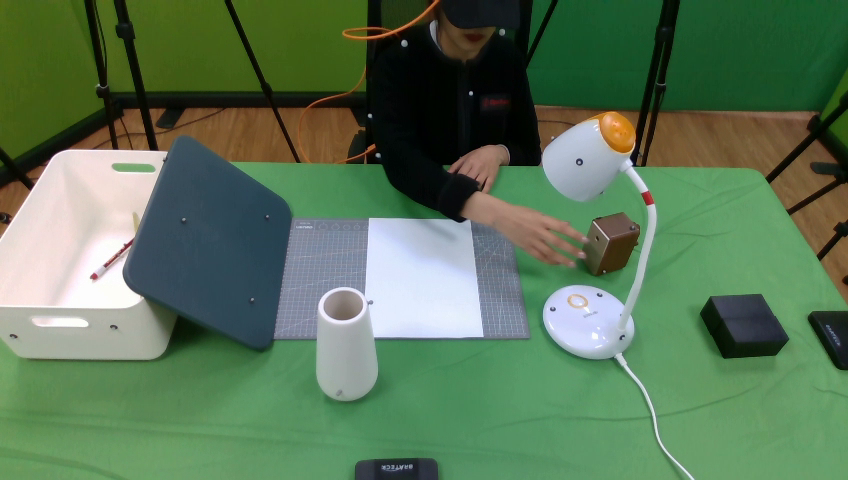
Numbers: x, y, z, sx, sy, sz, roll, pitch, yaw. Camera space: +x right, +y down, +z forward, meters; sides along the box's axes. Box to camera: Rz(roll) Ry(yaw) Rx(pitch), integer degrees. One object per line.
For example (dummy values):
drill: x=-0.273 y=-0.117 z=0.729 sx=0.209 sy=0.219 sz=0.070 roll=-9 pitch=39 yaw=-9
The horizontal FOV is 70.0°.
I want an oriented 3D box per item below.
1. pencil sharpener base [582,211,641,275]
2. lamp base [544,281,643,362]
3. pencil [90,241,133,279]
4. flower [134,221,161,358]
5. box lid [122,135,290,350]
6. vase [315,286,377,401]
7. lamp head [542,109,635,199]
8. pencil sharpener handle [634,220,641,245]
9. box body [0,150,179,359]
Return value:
pencil sharpener base: x=0.357 y=0.005 z=1.156 sx=0.077 sy=0.107 sz=0.061 roll=-15 pitch=48 yaw=-18
lamp base: x=0.304 y=0.095 z=1.014 sx=0.161 sy=0.181 sz=0.178 roll=-24 pitch=54 yaw=-24
pencil: x=-0.551 y=0.007 z=1.145 sx=0.012 sy=0.012 sz=0.193 roll=23 pitch=51 yaw=18
flower: x=-0.508 y=0.071 z=1.093 sx=0.044 sy=0.038 sz=0.359 roll=-41 pitch=45 yaw=8
box lid: x=-0.355 y=-0.006 z=1.059 sx=0.015 sy=0.265 sz=0.369 roll=-33 pitch=39 yaw=27
vase: x=-0.119 y=0.159 z=0.911 sx=0.098 sy=0.201 sz=0.097 roll=2 pitch=47 yaw=-2
lamp head: x=0.253 y=-0.131 z=0.893 sx=0.113 sy=0.123 sz=0.112 roll=10 pitch=66 yaw=-24
pencil sharpener handle: x=0.405 y=-0.015 z=1.161 sx=0.031 sy=0.068 sz=0.035 roll=-15 pitch=43 yaw=-18
box body: x=-0.541 y=0.020 z=1.041 sx=0.254 sy=0.161 sz=0.361 roll=1 pitch=46 yaw=-3
